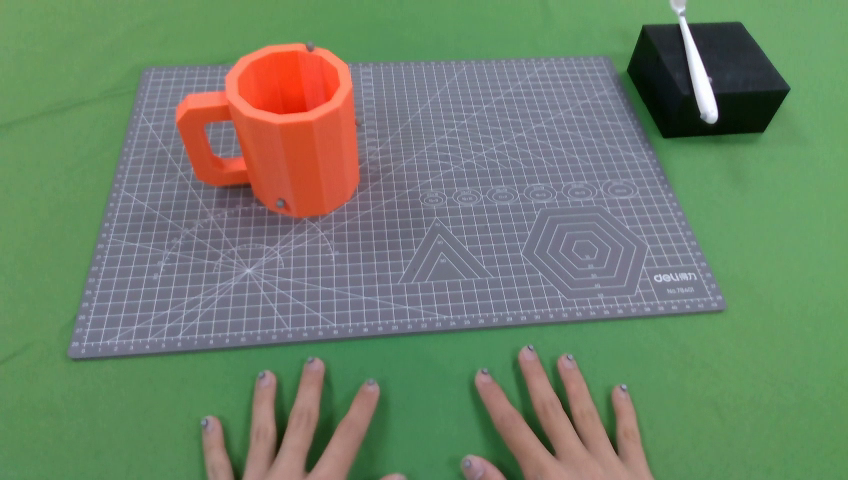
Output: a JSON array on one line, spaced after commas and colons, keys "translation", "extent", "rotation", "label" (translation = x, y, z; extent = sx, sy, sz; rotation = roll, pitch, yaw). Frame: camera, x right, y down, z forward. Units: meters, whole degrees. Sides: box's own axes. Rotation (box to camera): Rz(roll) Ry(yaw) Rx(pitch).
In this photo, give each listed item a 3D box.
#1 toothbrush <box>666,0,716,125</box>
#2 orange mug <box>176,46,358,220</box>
[{"translation": [0.235, -0.166, 0.535], "extent": [0.014, 0.017, 0.180], "rotation": [8, 53, -1], "label": "toothbrush"}, {"translation": [-0.112, -0.077, 0.450], "extent": [0.126, 0.101, 0.082], "rotation": [-6, 53, -14], "label": "orange mug"}]
